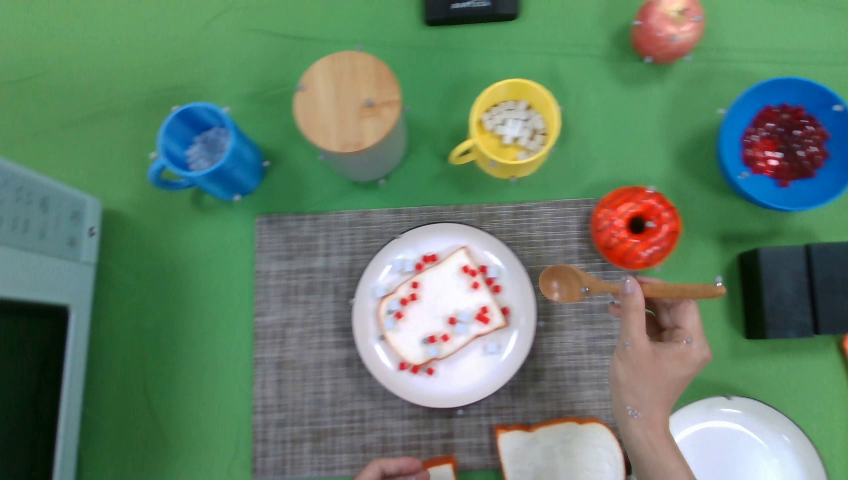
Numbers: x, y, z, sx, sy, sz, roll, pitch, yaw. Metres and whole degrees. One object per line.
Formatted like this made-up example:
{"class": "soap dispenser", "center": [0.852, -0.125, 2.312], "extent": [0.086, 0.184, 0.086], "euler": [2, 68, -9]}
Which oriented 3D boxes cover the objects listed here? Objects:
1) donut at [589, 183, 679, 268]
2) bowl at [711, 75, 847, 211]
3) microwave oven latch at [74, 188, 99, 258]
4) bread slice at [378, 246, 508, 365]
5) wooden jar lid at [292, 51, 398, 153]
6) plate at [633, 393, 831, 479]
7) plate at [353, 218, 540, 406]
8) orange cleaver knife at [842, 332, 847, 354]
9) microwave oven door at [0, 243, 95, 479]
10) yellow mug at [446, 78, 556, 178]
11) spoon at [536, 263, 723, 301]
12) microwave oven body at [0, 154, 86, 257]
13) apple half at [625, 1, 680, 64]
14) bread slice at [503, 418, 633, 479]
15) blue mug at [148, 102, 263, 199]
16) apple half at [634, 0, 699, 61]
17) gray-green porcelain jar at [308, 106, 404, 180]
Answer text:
{"class": "donut", "center": [0.238, -0.017, 0.690], "extent": [0.099, 0.048, 0.098], "euler": [0, 82, 2]}
{"class": "bowl", "center": [0.390, -0.100, 0.684], "extent": [0.151, 0.077, 0.151], "euler": [0, 82, 3]}
{"class": "microwave oven latch", "center": [-0.398, -0.020, 0.702], "extent": [0.030, 0.029, 0.079], "euler": [3, 82, 2]}
{"class": "bread slice", "center": [0.016, 0.082, 0.688], "extent": [0.131, 0.019, 0.104], "euler": [-30, 82, -2]}
{"class": "wooden jar lid", "center": [-0.080, -0.139, 0.620], "extent": [0.108, 0.021, 0.108], "euler": [0, 79, 3]}
{"class": "plate", "center": [0.325, 0.269, 0.651], "extent": [0.209, 0.038, 0.208], "euler": [0, 81, 2]}
{"class": "plate", "center": [0.025, 0.080, 0.687], "extent": [0.207, 0.039, 0.207], "euler": [0, 81, 2]}
{"class": "orange cleaver knife", "center": [0.510, 0.192, 0.665], "extent": [0.077, 0.012, 0.210], "euler": [-1, 80, -5]}
{"class": "microwave oven door", "center": [-0.408, 0.181, 0.570], "extent": [0.039, 0.244, 0.354], "euler": [0, 81, 2]}
{"class": "yellow mug", "center": [0.085, -0.122, 0.705], "extent": [0.131, 0.064, 0.099], "euler": [-26, 81, -1]}
{"class": "spoon", "center": [0.176, 0.043, 0.551], "extent": [0.022, 0.192, 0.042], "euler": [-17, 99, -31]}
{"class": "microwave oven body", "center": [-0.553, 0.138, 0.586], "extent": [0.326, 0.261, 0.440], "euler": [1, 82, 2]}
{"class": "apple half", "center": [0.258, -0.233, 0.709], "extent": [0.033, 0.081, 0.081], "euler": [-35, 81, -8]}
{"class": "bread slice", "center": [0.157, 0.246, 0.634], "extent": [0.135, 0.018, 0.106], "euler": [-7, 77, -19]}
{"class": "blue mug", "center": [-0.255, -0.092, 0.692], "extent": [0.116, 0.106, 0.082], "euler": [-28, 81, -2]}
{"class": "apple half", "center": [0.289, -0.256, 0.713], "extent": [0.053, 0.075, 0.080], "euler": [-35, 77, -8]}
{"class": "gray-green porcelain jar", "center": [-0.077, -0.129, 0.681], "extent": [0.106, 0.127, 0.105], "euler": [0, 81, 2]}
